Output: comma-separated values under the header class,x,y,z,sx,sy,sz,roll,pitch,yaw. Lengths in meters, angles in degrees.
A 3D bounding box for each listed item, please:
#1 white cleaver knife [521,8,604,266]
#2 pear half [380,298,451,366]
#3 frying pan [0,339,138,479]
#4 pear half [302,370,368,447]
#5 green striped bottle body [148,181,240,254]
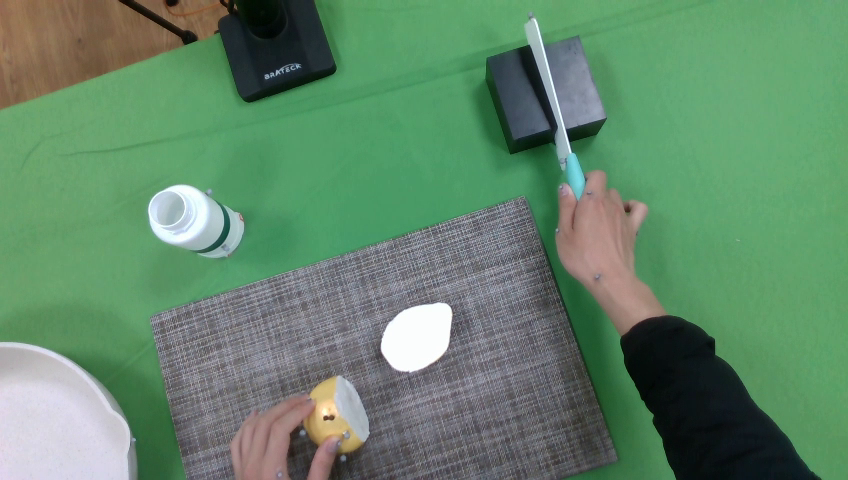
class,x,y,z,sx,sy,sz,roll,pitch,yaw
white cleaver knife,0.151,-0.110,0.662,0.021,0.066,0.286,-15,95,5
pear half,-0.005,0.101,0.656,0.088,0.031,0.070,-40,64,-15
frying pan,-0.399,0.342,0.608,0.307,0.103,0.484,-23,72,0
pear half,-0.098,0.175,0.611,0.056,0.110,0.076,-31,75,-1
green striped bottle body,-0.248,-0.024,0.649,0.063,0.119,0.063,-1,80,4
